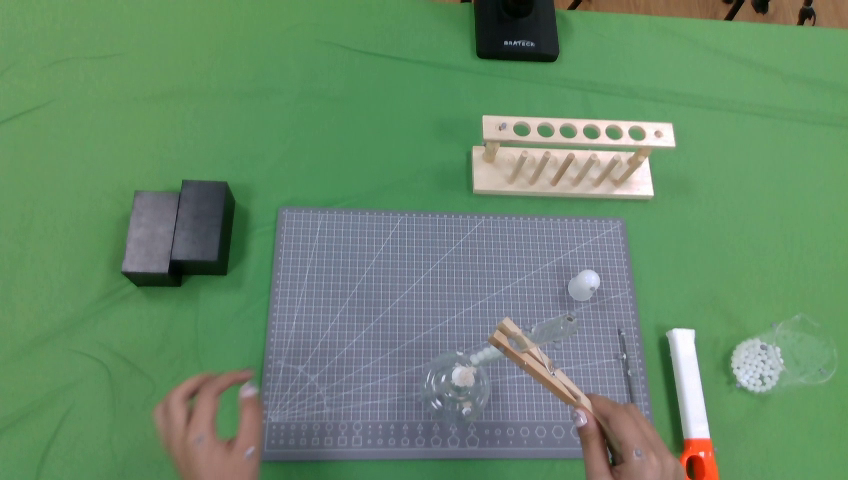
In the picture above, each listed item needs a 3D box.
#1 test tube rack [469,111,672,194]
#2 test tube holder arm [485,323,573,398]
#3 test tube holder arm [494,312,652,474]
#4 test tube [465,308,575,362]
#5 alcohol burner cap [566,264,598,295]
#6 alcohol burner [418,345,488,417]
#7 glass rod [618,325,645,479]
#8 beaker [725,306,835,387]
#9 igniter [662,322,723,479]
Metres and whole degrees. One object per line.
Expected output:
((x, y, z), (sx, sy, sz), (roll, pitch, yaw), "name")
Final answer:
((0.185, -0.111, 0.782), (0.243, 0.085, 0.066), (1, 69, -6), "test tube rack")
((0.088, 0.101, 0.503), (0.088, 0.015, 0.010), (39, 60, -3), "test tube holder arm")
((0.125, 0.128, 0.507), (0.178, 0.015, 0.013), (45, 60, 0), "test tube holder arm")
((0.074, 0.082, 0.504), (0.017, 0.150, 0.017), (10, 66, -23), "test tube")
((0.196, 0.046, 0.743), (0.034, 0.048, 0.033), (2, 69, -5), "alcohol burner cap")
((0.033, 0.148, 0.648), (0.078, 0.120, 0.077), (2, 66, -4), "alcohol burner")
((0.242, 0.197, 0.708), (0.008, 0.008, 0.198), (1, 69, -6), "glass rod")
((0.409, 0.128, 0.707), (0.074, 0.101, 0.083), (14, 67, 0), "beaker")
((0.309, 0.230, 0.695), (0.057, 0.025, 0.274), (5, 69, -15), "igniter")
